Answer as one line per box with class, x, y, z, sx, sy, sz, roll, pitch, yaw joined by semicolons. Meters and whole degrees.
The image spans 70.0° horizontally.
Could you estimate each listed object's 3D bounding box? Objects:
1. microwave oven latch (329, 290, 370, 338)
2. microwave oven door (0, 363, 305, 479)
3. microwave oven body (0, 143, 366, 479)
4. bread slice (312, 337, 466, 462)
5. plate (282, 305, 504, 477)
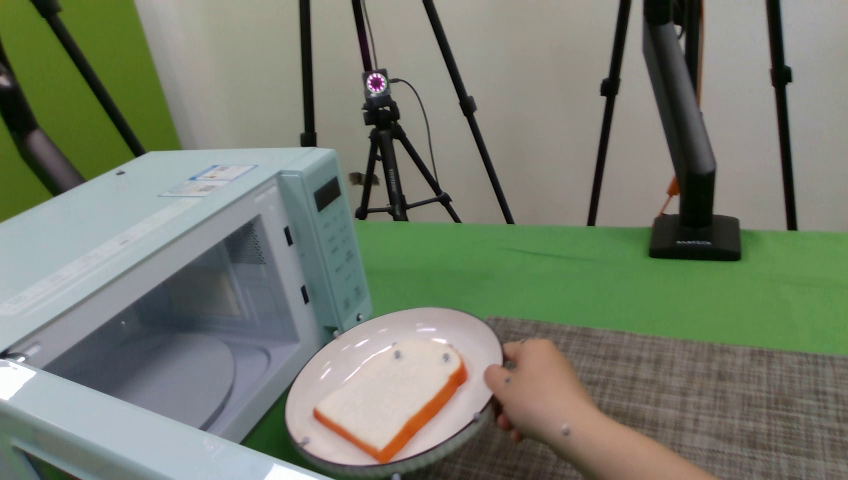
microwave oven latch;-0.099;0.097;0.797;0.030;0.030;0.079;3;30;24
microwave oven door;-0.118;0.203;0.356;0.353;0.246;0.039;6;31;30
microwave oven body;-0.316;0.090;0.669;0.324;0.262;0.440;3;30;23
bread slice;-0.028;0.138;0.563;0.104;0.019;0.131;13;41;44
plate;-0.026;0.136;0.559;0.209;0.038;0.207;-14;27;8
